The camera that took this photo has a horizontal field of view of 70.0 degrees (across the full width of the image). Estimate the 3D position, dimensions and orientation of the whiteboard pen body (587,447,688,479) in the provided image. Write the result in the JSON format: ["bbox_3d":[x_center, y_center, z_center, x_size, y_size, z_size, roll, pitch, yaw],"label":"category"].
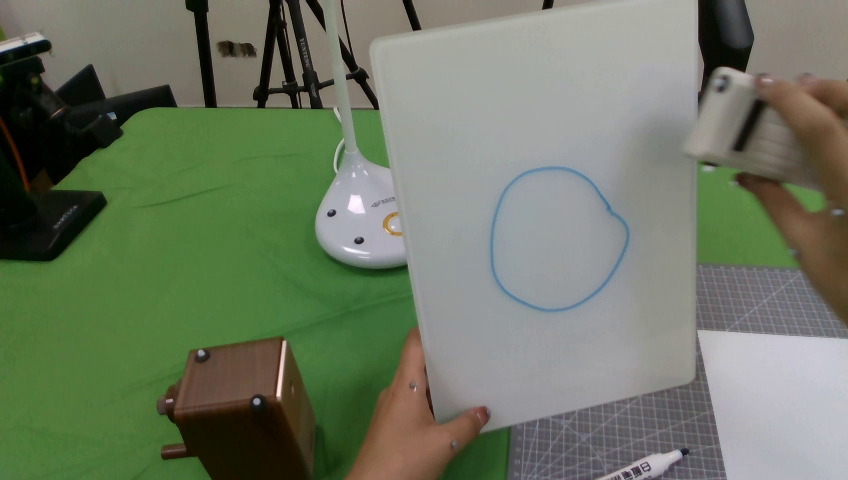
[{"bbox_3d":[0.128,0.173,0.429,0.141,0.017,0.017,-17,41,-13],"label":"whiteboard pen body"}]

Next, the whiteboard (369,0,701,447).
[{"bbox_3d":[0.085,-0.023,0.493,0.217,0.307,0.142,-11,21,-5],"label":"whiteboard"}]

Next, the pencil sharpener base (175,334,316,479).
[{"bbox_3d":[-0.128,0.129,0.446,0.077,0.108,0.060,-8,40,-1],"label":"pencil sharpener base"}]

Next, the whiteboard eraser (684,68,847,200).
[{"bbox_3d":[0.221,-0.064,0.373,0.113,0.056,0.041,12,23,-10],"label":"whiteboard eraser"}]

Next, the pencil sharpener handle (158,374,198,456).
[{"bbox_3d":[-0.180,0.128,0.434,0.030,0.068,0.035,-8,27,-1],"label":"pencil sharpener handle"}]

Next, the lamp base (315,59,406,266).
[{"bbox_3d":[-0.058,-0.090,0.644,0.161,0.182,0.177,-30,43,-26],"label":"lamp base"}]
